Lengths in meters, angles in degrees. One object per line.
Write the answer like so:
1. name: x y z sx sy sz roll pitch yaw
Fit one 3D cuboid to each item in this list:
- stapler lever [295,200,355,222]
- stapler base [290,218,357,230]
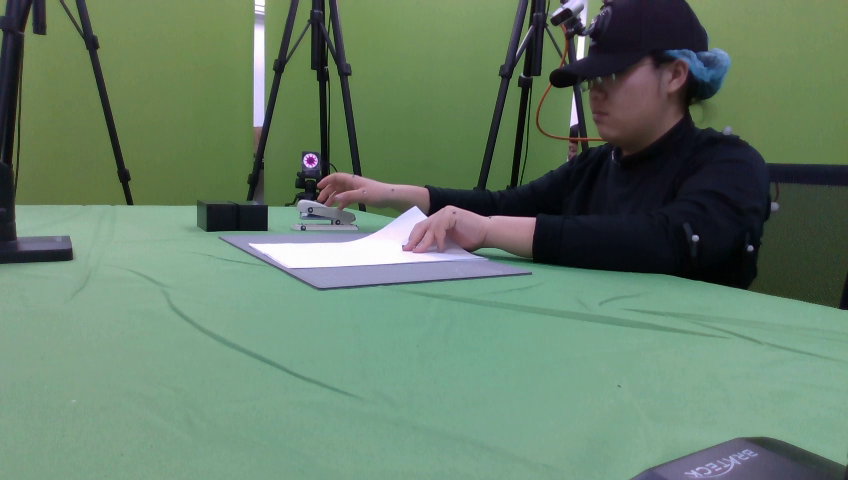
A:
1. stapler lever: -0.196 -0.058 1.199 0.118 0.040 0.026 1 9 -24
2. stapler base: -0.198 -0.033 1.201 0.131 0.024 0.041 1 9 -24
